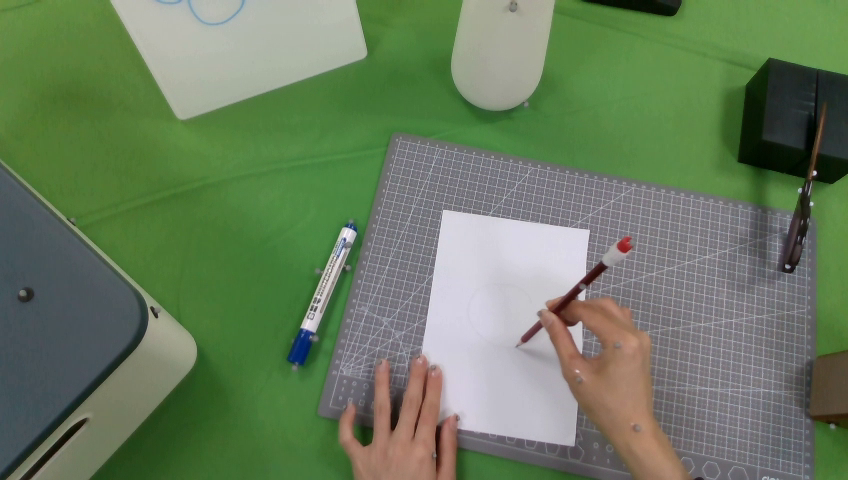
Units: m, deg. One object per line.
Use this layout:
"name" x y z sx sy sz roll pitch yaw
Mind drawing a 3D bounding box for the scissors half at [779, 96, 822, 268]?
"scissors half" 0.374 -0.057 0.598 0.012 0.040 0.175 13 90 29

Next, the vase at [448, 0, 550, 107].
"vase" 0.074 -0.215 0.580 0.098 0.201 0.097 0 70 0

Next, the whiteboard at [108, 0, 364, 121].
"whiteboard" -0.207 -0.307 0.580 0.217 0.308 0.142 -21 54 -8

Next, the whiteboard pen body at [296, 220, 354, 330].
"whiteboard pen body" -0.098 0.043 0.584 0.017 0.017 0.140 18 70 5

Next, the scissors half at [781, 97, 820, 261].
"scissors half" 0.365 -0.062 0.580 0.013 0.040 0.174 13 73 24

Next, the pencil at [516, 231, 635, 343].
"pencil" 0.115 0.047 0.497 0.012 0.195 0.012 9 56 -14

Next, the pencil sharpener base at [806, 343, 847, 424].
"pencil sharpener base" 0.399 0.127 0.521 0.077 0.107 0.061 16 71 1

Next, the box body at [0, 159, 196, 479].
"box body" -0.407 0.059 0.496 0.362 0.161 0.253 38 75 10

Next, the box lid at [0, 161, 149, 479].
"box lid" -0.407 0.033 0.426 0.370 0.015 0.263 38 74 10

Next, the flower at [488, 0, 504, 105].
"flower" 0.071 -0.256 0.506 0.044 0.365 0.038 5 53 4

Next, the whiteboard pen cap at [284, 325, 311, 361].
"whiteboard pen cap" -0.116 0.095 0.564 0.018 0.018 0.033 18 68 5
